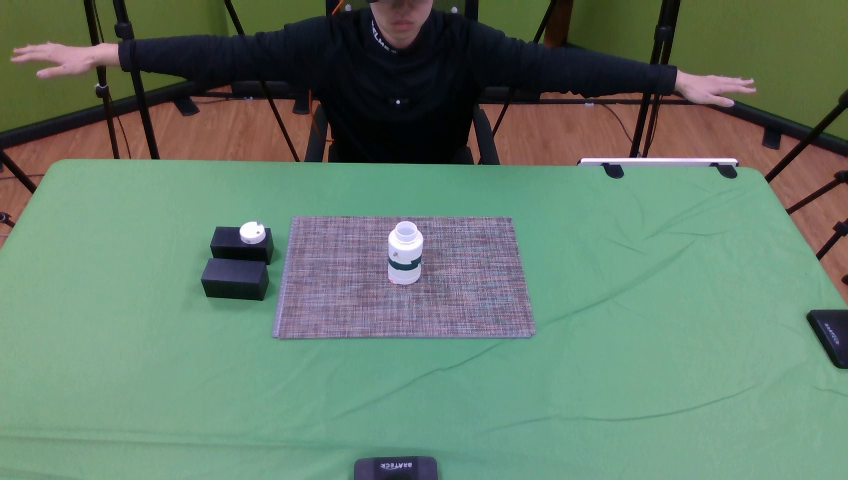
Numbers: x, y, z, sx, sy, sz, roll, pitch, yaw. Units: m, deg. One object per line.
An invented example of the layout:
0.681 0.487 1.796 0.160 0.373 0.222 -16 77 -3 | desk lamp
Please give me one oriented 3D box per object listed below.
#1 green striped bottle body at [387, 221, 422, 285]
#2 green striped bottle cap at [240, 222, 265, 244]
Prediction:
-0.035 0.021 1.103 0.063 0.120 0.063 2 46 -2 | green striped bottle body
-0.318 -0.013 1.123 0.044 0.020 0.044 0 46 0 | green striped bottle cap
